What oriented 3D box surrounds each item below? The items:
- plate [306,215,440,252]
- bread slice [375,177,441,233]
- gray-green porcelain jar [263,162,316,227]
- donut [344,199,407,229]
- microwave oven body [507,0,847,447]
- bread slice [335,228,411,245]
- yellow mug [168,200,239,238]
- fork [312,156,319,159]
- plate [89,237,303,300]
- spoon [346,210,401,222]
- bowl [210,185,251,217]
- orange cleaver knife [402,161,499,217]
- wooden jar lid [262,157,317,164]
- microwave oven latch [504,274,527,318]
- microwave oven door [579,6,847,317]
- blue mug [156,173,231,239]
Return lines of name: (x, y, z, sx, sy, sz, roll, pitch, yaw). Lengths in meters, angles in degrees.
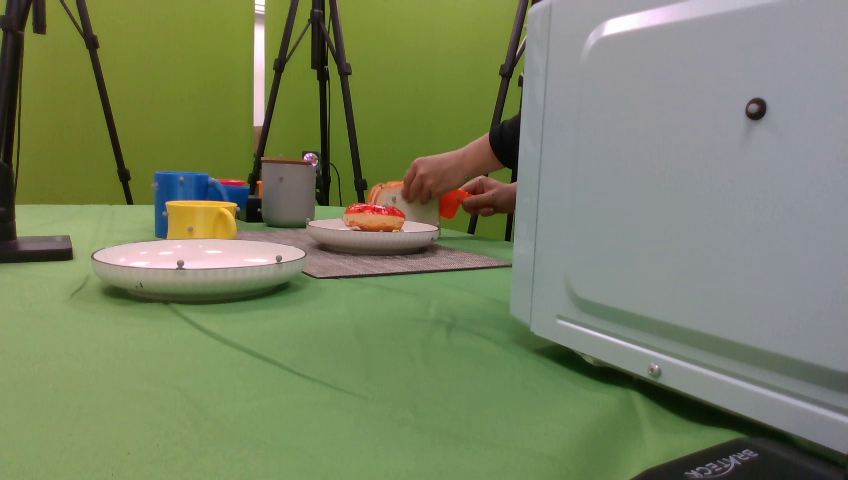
plate: (-0.079, -0.011, 0.950, 0.209, 0.038, 0.209, 2, 8, 0)
bread slice: (-0.029, -0.061, 1.137, 0.135, 0.107, 0.018, -7, 8, -25)
gray-green porcelain jar: (-0.271, -0.092, 1.217, 0.106, 0.126, 0.106, 2, 7, 0)
donut: (-0.076, -0.039, 0.949, 0.099, 0.048, 0.099, 2, 4, 0)
microwave oven body: (0.331, -0.042, 0.425, 0.444, 0.260, 0.324, -2, 8, -31)
bread slice: (-0.074, -0.006, 0.938, 0.105, 0.019, 0.131, -2, 5, -19)
yellow mug: (-0.320, -0.023, 0.904, 0.130, 0.064, 0.100, 9, 11, 36)
fork: (-0.331, -0.144, 1.506, 0.207, 0.018, 0.028, -42, -19, 22)
plate: (-0.233, 0.029, 0.637, 0.208, 0.039, 0.207, 2, 7, 0)
spoon: (-0.121, -0.059, 1.400, 0.042, 0.021, 0.192, -28, 25, -37)
bowl: (-0.408, -0.064, 1.155, 0.151, 0.077, 0.151, 2, 8, 0)
orange cleaver knife: (0.050, -0.086, 1.175, 0.212, 0.077, 0.012, 21, -1, -23)
wooden jar lid: (-0.269, -0.154, 1.208, 0.108, 0.020, 0.108, 3, 4, 0)
microwave oven latch: (0.100, 0.041, 0.471, 0.079, 0.029, 0.030, -1, 8, -28)
microwave oven door: (0.294, -0.067, 0.570, 0.358, 0.243, 0.039, -3, 9, -31)
blue mug: (-0.381, -0.057, 1.004, 0.117, 0.106, 0.082, 0, 8, -12)
